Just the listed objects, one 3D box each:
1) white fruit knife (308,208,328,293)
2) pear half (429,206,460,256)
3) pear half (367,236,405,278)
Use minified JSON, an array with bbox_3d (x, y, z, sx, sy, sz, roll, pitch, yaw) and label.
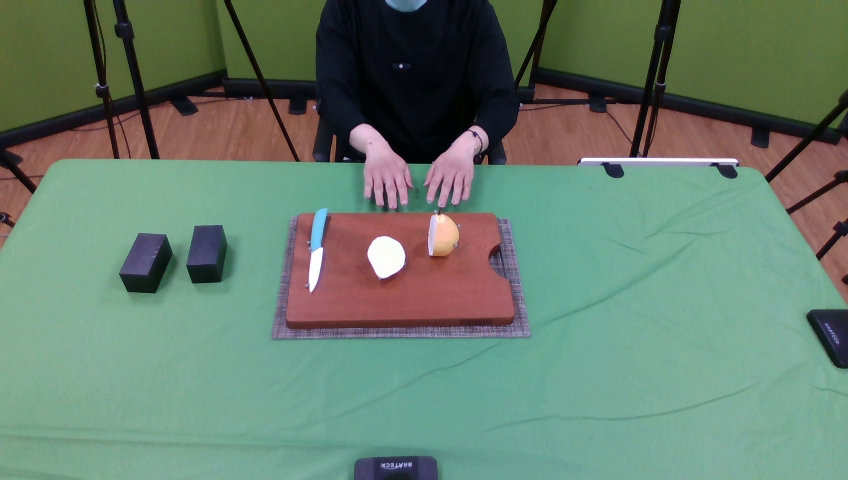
[{"bbox_3d":[-0.201,0.016,1.128,0.027,0.016,0.206,-9,46,8],"label":"white fruit knife"},{"bbox_3d":[0.039,-0.021,1.117,0.056,0.110,0.076,-5,50,-9],"label":"pear half"},{"bbox_3d":[-0.072,0.036,1.106,0.070,0.031,0.087,18,59,-7],"label":"pear half"}]
